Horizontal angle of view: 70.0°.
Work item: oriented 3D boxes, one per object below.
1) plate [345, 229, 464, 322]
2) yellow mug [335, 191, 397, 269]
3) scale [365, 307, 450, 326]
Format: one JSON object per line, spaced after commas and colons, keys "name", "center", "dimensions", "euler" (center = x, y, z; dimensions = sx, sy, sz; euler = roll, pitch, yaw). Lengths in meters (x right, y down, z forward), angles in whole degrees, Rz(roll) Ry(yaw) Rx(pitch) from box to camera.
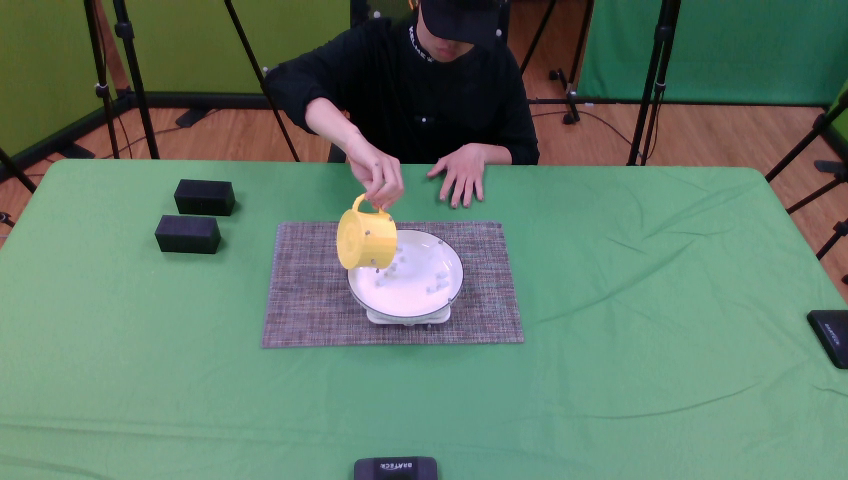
{"name": "plate", "center": [-0.034, 0.065, 1.073], "dimensions": [0.209, 0.038, 0.208], "euler": [2, 46, -2]}
{"name": "yellow mug", "center": [-0.096, -0.016, 1.012], "dimensions": [0.064, 0.131, 0.099], "euler": [1, 9, -34]}
{"name": "scale", "center": [-0.032, 0.071, 1.113], "dimensions": [0.149, 0.032, 0.199], "euler": [0, 46, -4]}
